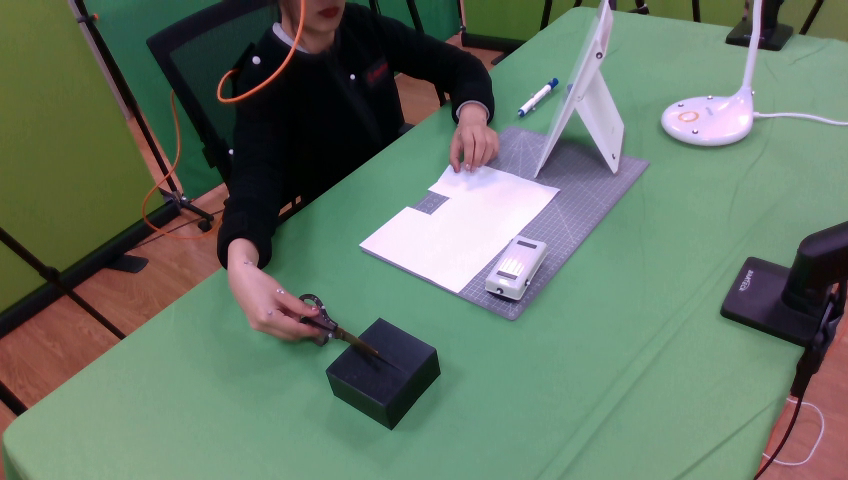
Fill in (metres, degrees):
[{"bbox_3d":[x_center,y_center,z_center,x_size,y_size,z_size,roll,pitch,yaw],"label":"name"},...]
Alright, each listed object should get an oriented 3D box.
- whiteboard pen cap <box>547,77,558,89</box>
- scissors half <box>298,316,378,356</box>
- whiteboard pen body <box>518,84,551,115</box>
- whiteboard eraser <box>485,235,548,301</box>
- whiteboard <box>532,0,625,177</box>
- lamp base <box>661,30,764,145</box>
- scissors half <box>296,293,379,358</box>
[{"bbox_3d":[0.279,-0.341,1.321,0.018,0.018,0.033,22,51,31],"label":"whiteboard pen cap"},{"bbox_3d":[-0.117,0.132,0.807,0.013,0.040,0.173,-23,20,-39],"label":"scissors half"},{"bbox_3d":[0.242,-0.306,1.290,0.017,0.017,0.141,24,52,33],"label":"whiteboard pen body"},{"bbox_3d":[0.137,0.042,0.887,0.055,0.042,0.113,15,46,27],"label":"whiteboard eraser"},{"bbox_3d":[0.320,-0.258,1.050,0.144,0.306,0.217,21,45,5],"label":"whiteboard"},{"bbox_3d":[0.535,-0.287,1.096,0.179,0.181,0.159,-10,40,-4],"label":"lamp base"},{"bbox_3d":[-0.116,0.113,0.799,0.013,0.040,0.173,-17,35,-42],"label":"scissors half"}]
